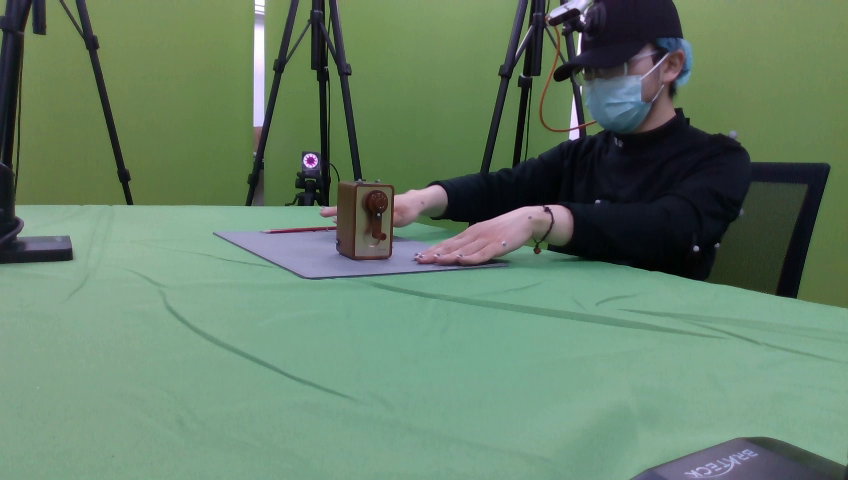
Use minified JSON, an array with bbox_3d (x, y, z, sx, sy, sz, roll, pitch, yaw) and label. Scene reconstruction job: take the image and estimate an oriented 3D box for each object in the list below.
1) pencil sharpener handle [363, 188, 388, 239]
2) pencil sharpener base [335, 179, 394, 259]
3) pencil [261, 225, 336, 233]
[{"bbox_3d":[-0.060,-0.035,0.808,0.036,0.067,0.030,-2,9,-28],"label":"pencil sharpener handle"},{"bbox_3d":[-0.084,-0.030,0.854,0.061,0.107,0.076,-1,8,-28],"label":"pencil sharpener base"},{"bbox_3d":[-0.212,-0.021,1.122,0.195,0.012,0.012,-5,11,-40],"label":"pencil"}]
